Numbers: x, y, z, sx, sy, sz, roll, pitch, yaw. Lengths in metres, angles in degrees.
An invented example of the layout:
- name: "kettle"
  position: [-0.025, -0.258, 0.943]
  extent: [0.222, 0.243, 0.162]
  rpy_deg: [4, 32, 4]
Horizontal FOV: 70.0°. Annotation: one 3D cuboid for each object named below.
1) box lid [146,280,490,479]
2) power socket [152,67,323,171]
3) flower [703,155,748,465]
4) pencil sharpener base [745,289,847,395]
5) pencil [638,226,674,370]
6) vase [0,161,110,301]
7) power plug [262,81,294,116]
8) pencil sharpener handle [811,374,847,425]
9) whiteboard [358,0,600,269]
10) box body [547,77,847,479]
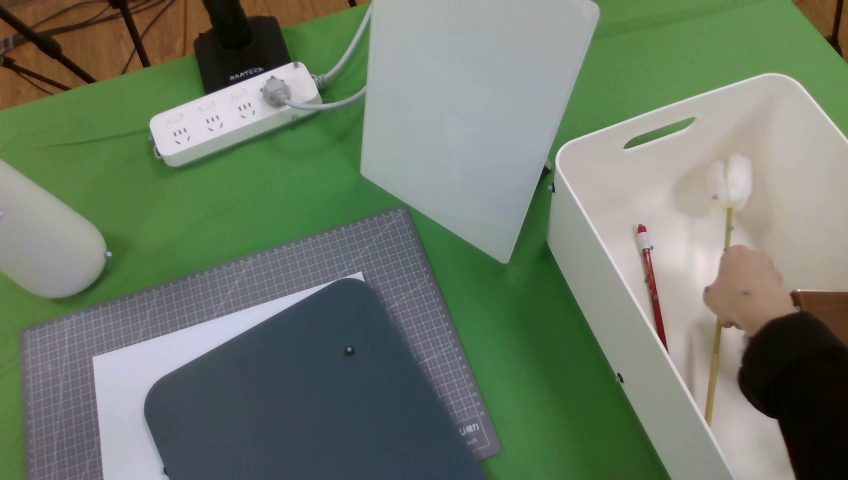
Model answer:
- name: "box lid"
  position: [-0.089, 0.232, 0.578]
  extent: [0.263, 0.015, 0.368]
  rpy_deg: [-29, 66, -12]
- name: "power socket"
  position: [-0.236, -0.156, 0.775]
  extent: [0.227, 0.033, 0.071]
  rpy_deg: [-24, 65, -9]
- name: "flower"
  position: [0.295, 0.075, 0.593]
  extent: [0.044, 0.038, 0.359]
  rpy_deg: [-3, 62, 32]
- name: "pencil sharpener base"
  position: [0.356, 0.101, 0.561]
  extent: [0.061, 0.108, 0.076]
  rpy_deg: [1, 63, 3]
- name: "pencil"
  position: [0.246, 0.073, 0.637]
  extent: [0.012, 0.012, 0.192]
  rpy_deg: [-3, 65, 3]
- name: "vase"
  position: [-0.413, -0.013, 0.618]
  extent: [0.098, 0.201, 0.097]
  rpy_deg: [-2, 62, 4]
- name: "power plug"
  position: [-0.179, -0.165, 0.750]
  extent: [0.035, 0.053, 0.072]
  rpy_deg: [-15, 64, -4]
- name: "pencil sharpener handle"
  position: [0.356, 0.140, 0.527]
  extent: [0.036, 0.068, 0.030]
  rpy_deg: [-5, 62, 13]
- name: "whiteboard"
  position: [0.067, -0.159, 0.641]
  extent: [0.216, 0.308, 0.143]
  rpy_deg: [33, 50, 19]
- name: "box body"
  position: [0.298, 0.059, 0.561]
  extent: [0.254, 0.161, 0.360]
  rpy_deg: [-20, 63, -7]
